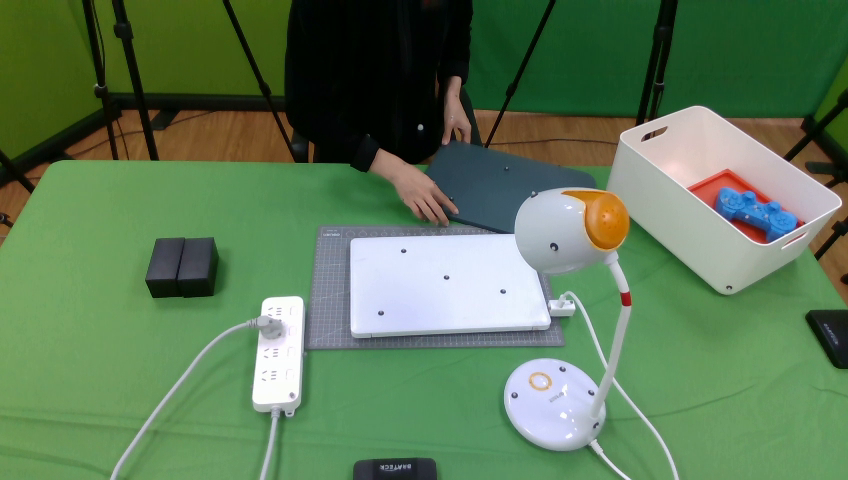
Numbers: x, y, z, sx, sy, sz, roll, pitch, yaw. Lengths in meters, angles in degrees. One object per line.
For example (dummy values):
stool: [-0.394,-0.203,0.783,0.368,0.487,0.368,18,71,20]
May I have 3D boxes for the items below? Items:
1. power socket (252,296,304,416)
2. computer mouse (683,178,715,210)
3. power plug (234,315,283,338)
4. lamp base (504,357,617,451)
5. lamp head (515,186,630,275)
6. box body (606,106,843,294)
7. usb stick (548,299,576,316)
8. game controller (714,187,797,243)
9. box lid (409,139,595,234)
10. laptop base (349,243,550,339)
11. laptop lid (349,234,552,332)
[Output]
power socket: [-0.238,0.181,0.997,0.072,0.033,0.225,-3,47,-5]
computer mouse: [0.596,-0.078,1.290,0.117,0.041,0.063,56,46,-7]
power plug: [-0.269,0.143,1.000,0.072,0.053,0.035,4,47,3]
lamp base: [0.220,0.211,0.903,0.160,0.181,0.178,-33,59,-30]
lamp head: [0.188,-0.013,0.728,0.112,0.112,0.122,-25,9,-25]
box body: [0.582,-0.089,1.230,0.254,0.161,0.361,-22,52,-23]
usb stick: [0.239,0.121,1.084,0.059,0.027,0.021,-1,51,-1]
game controller: [0.646,-0.057,1.183,0.154,0.052,0.097,27,54,20]
box lid: [0.178,-0.107,1.323,0.371,0.015,0.262,16,47,12]
laptop base: [0.039,0.081,1.124,0.355,0.023,0.234,-2,43,-6]
laptop lid: [0.040,0.071,1.118,0.357,0.013,0.240,0,44,-5]
